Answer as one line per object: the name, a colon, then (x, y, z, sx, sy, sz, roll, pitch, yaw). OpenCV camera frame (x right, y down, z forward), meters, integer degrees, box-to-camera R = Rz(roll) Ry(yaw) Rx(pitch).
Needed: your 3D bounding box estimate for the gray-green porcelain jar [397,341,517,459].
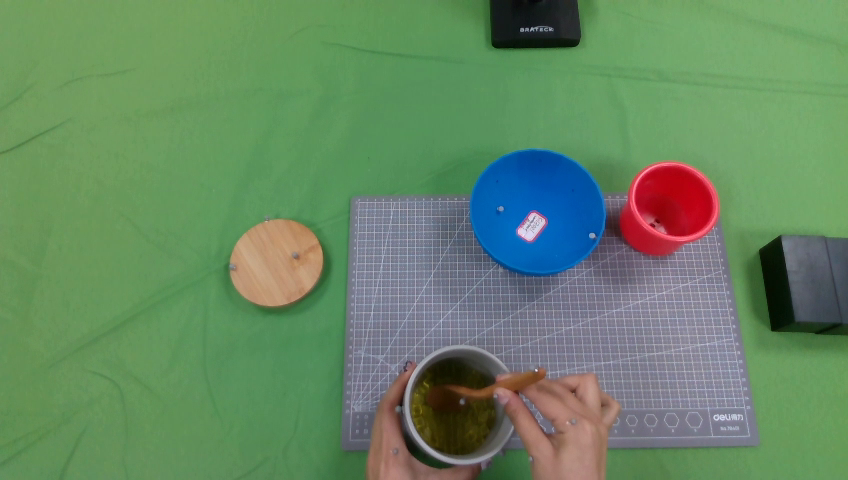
gray-green porcelain jar: (0.027, 0.162, 0.603, 0.106, 0.127, 0.105, 2, 72, -5)

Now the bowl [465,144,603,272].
bowl: (0.121, -0.026, 0.698, 0.151, 0.077, 0.150, 0, 70, 1)

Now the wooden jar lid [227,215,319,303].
wooden jar lid: (-0.177, 0.024, 0.716, 0.108, 0.021, 0.107, 0, 70, 1)

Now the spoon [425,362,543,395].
spoon: (0.052, 0.130, 0.565, 0.042, 0.193, 0.021, 42, 64, -10)
